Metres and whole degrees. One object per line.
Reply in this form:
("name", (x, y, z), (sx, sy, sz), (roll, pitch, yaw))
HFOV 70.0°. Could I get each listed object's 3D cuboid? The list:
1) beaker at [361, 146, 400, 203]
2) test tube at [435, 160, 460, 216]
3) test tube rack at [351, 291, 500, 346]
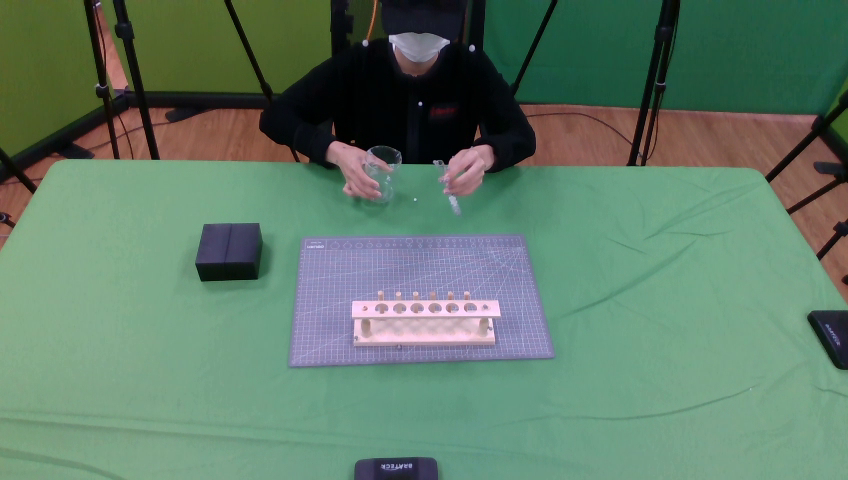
("beaker", (-0.088, -0.132, 1.238), (0.084, 0.100, 0.073), (-30, 63, -30))
("test tube", (0.045, -0.092, 1.106), (0.017, 0.151, 0.017), (-8, 54, 12))
("test tube rack", (0.001, 0.129, 1.026), (0.242, 0.085, 0.066), (0, 46, -4))
